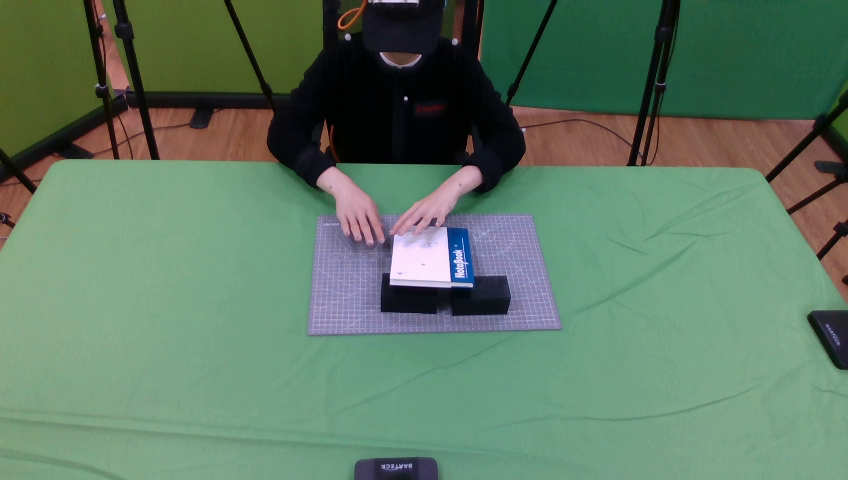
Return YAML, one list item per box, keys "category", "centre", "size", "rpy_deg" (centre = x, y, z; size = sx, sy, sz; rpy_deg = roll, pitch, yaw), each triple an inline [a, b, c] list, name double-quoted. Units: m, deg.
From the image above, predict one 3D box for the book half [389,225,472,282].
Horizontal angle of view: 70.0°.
- category: "book half"
  centre: [0.012, 0.022, 1.128]
  size: [0.143, 0.007, 0.209]
  rpy_deg: [3, 28, -1]
